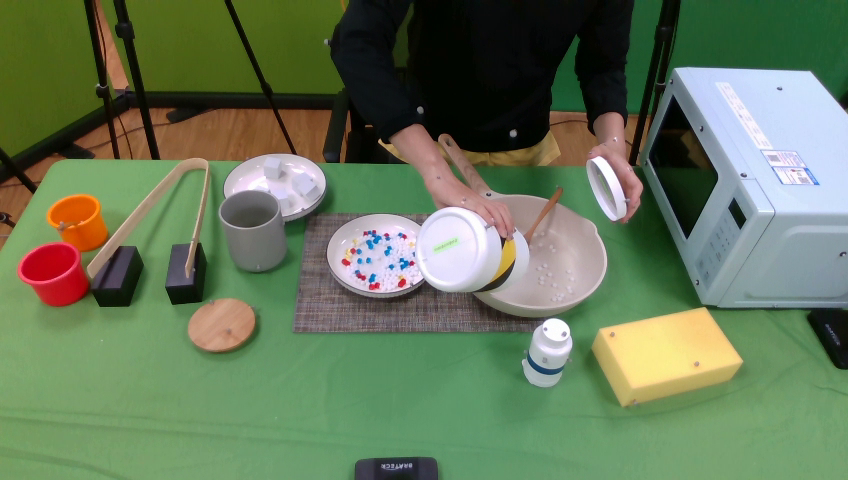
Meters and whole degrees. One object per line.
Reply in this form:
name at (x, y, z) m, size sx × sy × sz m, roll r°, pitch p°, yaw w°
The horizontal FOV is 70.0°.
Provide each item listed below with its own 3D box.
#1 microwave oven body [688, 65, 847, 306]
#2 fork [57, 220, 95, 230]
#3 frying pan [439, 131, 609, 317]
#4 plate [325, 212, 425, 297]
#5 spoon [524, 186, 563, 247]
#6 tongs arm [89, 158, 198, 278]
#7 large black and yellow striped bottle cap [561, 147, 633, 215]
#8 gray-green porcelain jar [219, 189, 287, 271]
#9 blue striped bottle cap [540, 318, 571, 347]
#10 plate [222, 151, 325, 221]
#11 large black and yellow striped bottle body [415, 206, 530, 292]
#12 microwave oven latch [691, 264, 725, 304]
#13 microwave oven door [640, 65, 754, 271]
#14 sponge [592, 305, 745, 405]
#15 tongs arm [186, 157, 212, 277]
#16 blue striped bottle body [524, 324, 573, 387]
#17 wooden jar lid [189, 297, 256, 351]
microwave oven body at (0.669, -0.111, 1.176) m, size 0.326 × 0.261 × 0.439 m, roll 0°, pitch 46°, yaw -3°
fork at (-0.624, -0.027, 1.087) m, size 0.028 × 0.207 × 0.018 m, roll -3°, pitch 92°, yaw -17°
frying pan at (0.149, -0.049, 1.190) m, size 0.307 × 0.103 × 0.484 m, roll -17°, pitch 58°, yaw -20°
plate at (-0.080, 0.030, 1.143) m, size 0.209 × 0.038 × 0.208 m, roll 3°, pitch 46°, yaw -2°
spoon at (0.224, -0.034, 1.191) m, size 0.041 × 0.022 × 0.193 m, roll 31°, pitch 80°, yaw 33°
tongs arm at (-0.529, -0.057, 1.164) m, size 0.028 × 0.028 × 0.385 m, roll 1°, pitch 36°, yaw 8°
large black and yellow striped bottle cap at (0.284, -0.097, 0.996) m, size 0.115 × 0.019 × 0.114 m, roll -7°, pitch 70°, yaw 21°
gray-green porcelain jar at (-0.310, -0.014, 1.113) m, size 0.106 × 0.127 × 0.105 m, roll 2°, pitch 46°, yaw -2°
blue striped bottle cap at (0.203, 0.142, 0.933) m, size 0.044 × 0.021 × 0.044 m, roll 3°, pitch 49°, yaw -4°
plate at (-0.310, -0.106, 1.262) m, size 0.208 × 0.039 × 0.206 m, roll 2°, pitch 47°, yaw -2°
large black and yellow striped bottle body at (0.086, 0.020, 0.982) m, size 0.130 × 0.131 × 0.185 m, roll 41°, pitch 18°, yaw 30°
microwave oven latch at (0.521, 0.081, 1.116) m, size 0.030 × 0.029 × 0.078 m, roll 0°, pitch 46°, yaw -3°
microwave oven door at (0.524, -0.148, 1.193) m, size 0.039 × 0.245 × 0.353 m, roll 0°, pitch 47°, yaw -3°
sponge at (0.405, 0.190, 1.014) m, size 0.207 × 0.061 × 0.117 m, roll -10°, pitch 48°, yaw -12°
tongs arm at (-0.445, -0.058, 1.168) m, size 0.051 × 0.026 × 0.382 m, roll -5°, pitch 37°, yaw -6°
blue striped bottle body at (0.200, 0.178, 0.970) m, size 0.063 × 0.121 × 0.062 m, roll 2°, pitch 46°, yaw -1°
wooden jar lid at (-0.342, 0.145, 1.033) m, size 0.108 × 0.021 × 0.107 m, roll 3°, pitch 45°, yaw -2°
